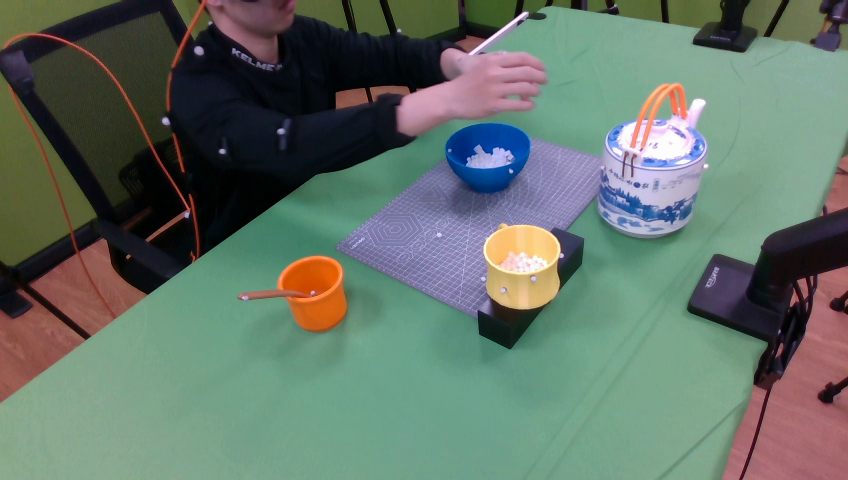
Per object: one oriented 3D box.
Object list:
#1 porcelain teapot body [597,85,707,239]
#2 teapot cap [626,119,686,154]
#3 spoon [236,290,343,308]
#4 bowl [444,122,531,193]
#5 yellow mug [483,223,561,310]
[{"bbox_3d":[0.362,-0.137,0.921,0.144,0.226,0.206,29,52,36],"label":"porcelain teapot body"},{"bbox_3d":[0.338,-0.153,0.882,0.085,0.044,0.085,-3,38,3],"label":"teapot cap"},{"bbox_3d":[-0.176,0.076,0.808,0.041,0.195,0.021,23,94,30],"label":"spoon"},{"bbox_3d":[0.112,-0.136,1.063,0.151,0.077,0.150,-4,41,4],"label":"bowl"},{"bbox_3d":[0.125,0.025,0.811,0.100,0.064,0.130,-16,39,-10],"label":"yellow mug"}]
